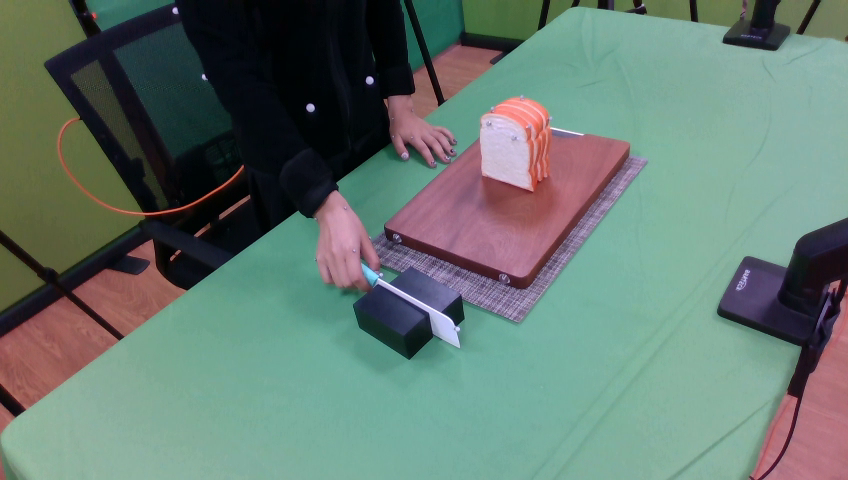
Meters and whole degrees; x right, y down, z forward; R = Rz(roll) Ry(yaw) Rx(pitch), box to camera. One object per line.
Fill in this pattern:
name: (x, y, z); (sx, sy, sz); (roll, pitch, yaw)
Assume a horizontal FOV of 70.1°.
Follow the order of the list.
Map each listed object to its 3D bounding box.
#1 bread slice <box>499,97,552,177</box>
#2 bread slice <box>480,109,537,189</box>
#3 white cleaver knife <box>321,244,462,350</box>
bread slice: (0.173, -0.179, 1.034); (0.104, 0.132, 0.019); (24, 46, 31)
bread slice: (0.138, -0.154, 1.008); (0.106, 0.135, 0.018); (19, 49, 35)
white cleaver knife: (-0.056, 0.079, 0.868); (0.284, 0.066, 0.021); (28, 47, 37)
